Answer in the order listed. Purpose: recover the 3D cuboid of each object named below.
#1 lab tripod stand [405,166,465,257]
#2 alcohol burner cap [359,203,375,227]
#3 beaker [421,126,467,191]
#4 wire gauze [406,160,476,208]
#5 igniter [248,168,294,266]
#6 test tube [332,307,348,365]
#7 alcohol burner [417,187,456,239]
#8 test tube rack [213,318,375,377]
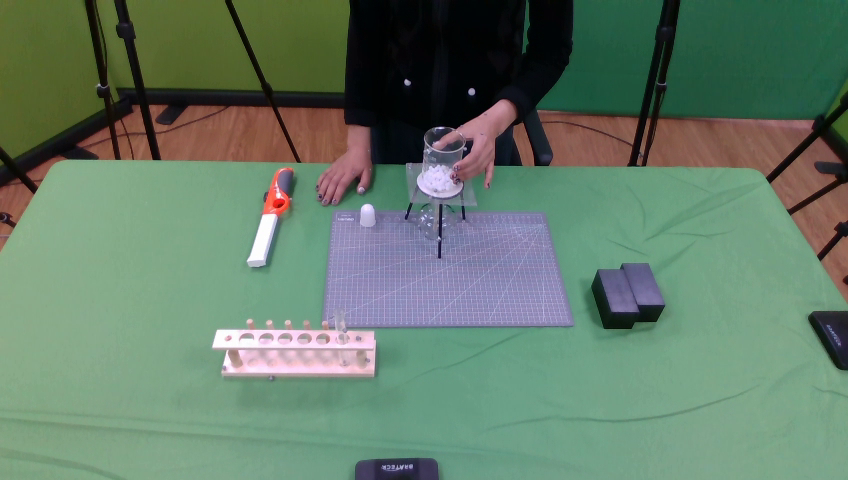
[{"bbox_3d":[0.030,-0.063,1.180,0.148,0.132,0.147,3,47,-3],"label":"lab tripod stand"},{"bbox_3d":[-0.115,-0.053,1.224,0.034,0.048,0.033,3,46,-3],"label":"alcohol burner cap"},{"bbox_3d":[0.032,-0.146,1.100,0.074,0.101,0.083,-16,50,-21],"label":"beaker"},{"bbox_3d":[0.031,-0.107,1.130,0.125,0.011,0.120,1,48,-6],"label":"wire gauze"},{"bbox_3d":[-0.307,-0.055,1.226,0.057,0.025,0.275,-3,46,6],"label":"igniter"},{"bbox_3d":[-0.128,0.151,0.931,0.017,0.151,0.017,2,50,-2],"label":"test tube"},{"bbox_3d":[0.025,-0.059,1.189,0.078,0.120,0.077,1,48,-1],"label":"alcohol burner"},{"bbox_3d":[-0.202,0.170,0.977,0.242,0.085,0.066,1,46,-3],"label":"test tube rack"}]
